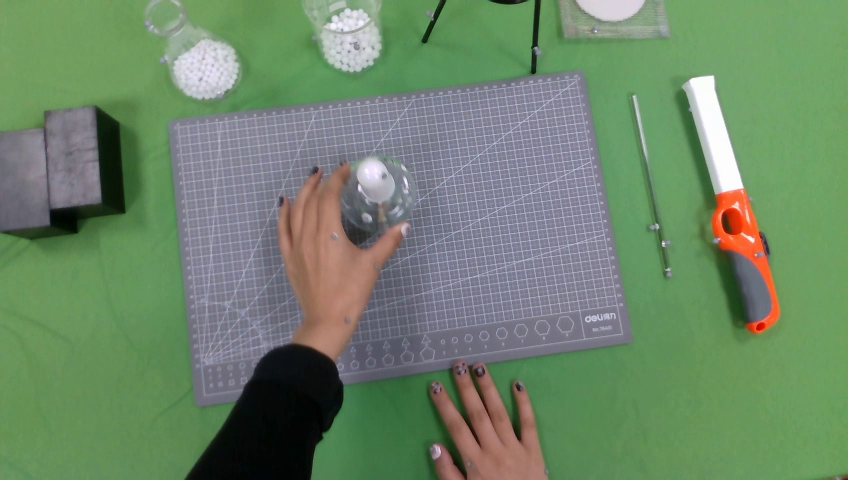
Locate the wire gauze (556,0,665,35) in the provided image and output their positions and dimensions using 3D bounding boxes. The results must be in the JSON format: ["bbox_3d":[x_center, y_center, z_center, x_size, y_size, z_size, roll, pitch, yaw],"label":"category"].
[{"bbox_3d":[0.206,-0.288,0.680,0.125,0.011,0.121,-3,84,-4],"label":"wire gauze"}]

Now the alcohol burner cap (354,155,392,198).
[{"bbox_3d":[-0.047,-0.060,0.549,0.034,0.048,0.033,-1,77,3],"label":"alcohol burner cap"}]

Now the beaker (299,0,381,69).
[{"bbox_3d":[-0.078,-0.226,0.615,0.084,0.100,0.074,-35,85,-7],"label":"beaker"}]

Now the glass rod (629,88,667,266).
[{"bbox_3d":[0.242,-0.070,0.655,0.008,0.008,0.199,-8,83,-3],"label":"glass rod"}]

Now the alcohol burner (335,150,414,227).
[{"bbox_3d":[-0.048,-0.054,0.585,0.078,0.119,0.077,1,81,-3],"label":"alcohol burner"}]

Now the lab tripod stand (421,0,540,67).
[{"bbox_3d":[0.069,-0.249,0.607,0.148,0.131,0.148,0,85,-1],"label":"lab tripod stand"}]

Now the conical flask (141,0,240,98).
[{"bbox_3d":[-0.232,-0.195,0.593,0.075,0.122,0.075,0,82,-2],"label":"conical flask"}]

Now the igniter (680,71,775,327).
[{"bbox_3d":[0.323,-0.046,0.645,0.057,0.025,0.275,-10,83,-14],"label":"igniter"}]
